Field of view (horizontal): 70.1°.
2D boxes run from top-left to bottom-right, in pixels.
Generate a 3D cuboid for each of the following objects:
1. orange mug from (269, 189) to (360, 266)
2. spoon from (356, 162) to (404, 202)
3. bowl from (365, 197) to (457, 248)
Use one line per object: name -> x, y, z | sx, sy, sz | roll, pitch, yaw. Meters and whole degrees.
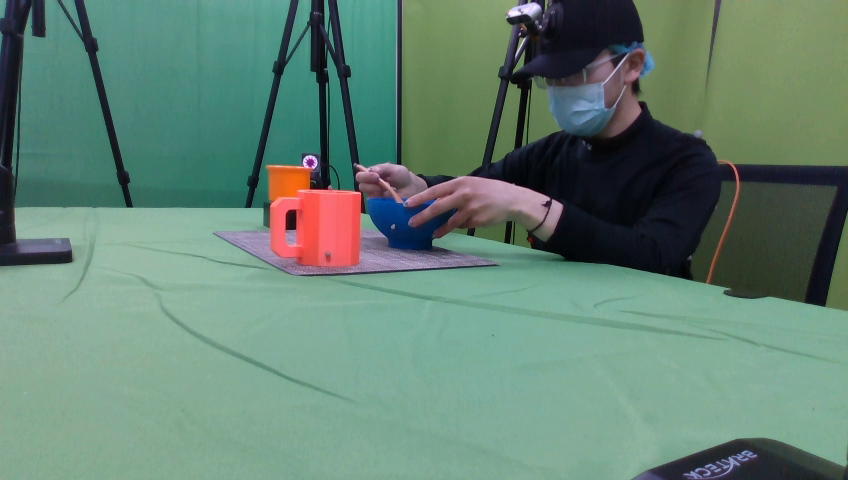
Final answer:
orange mug -> -0.143, -0.019, 0.796 | 0.127, 0.100, 0.083 | 3, 5, -39
spoon -> -0.058, -0.083, 1.040 | 0.042, 0.021, 0.193 | -8, 45, -44
bowl -> -0.022, -0.029, 1.000 | 0.151, 0.077, 0.151 | 2, 7, 0
